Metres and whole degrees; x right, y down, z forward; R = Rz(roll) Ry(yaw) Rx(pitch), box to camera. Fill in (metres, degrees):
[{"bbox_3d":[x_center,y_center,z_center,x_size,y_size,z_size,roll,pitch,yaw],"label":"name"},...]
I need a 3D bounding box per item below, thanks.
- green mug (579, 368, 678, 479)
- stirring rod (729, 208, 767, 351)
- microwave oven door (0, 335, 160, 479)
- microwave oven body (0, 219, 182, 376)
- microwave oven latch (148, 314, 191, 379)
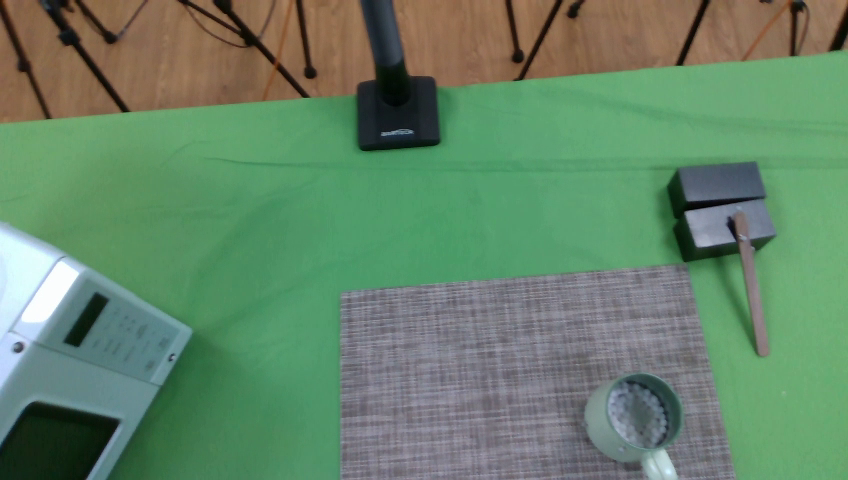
[{"bbox_3d":[0.230,0.204,0.660,0.092,0.106,0.124,-21,68,-5],"label":"green mug"},{"bbox_3d":[0.393,0.048,0.734,0.014,0.006,0.176,-10,89,-1],"label":"stirring rod"},{"bbox_3d":[-0.424,0.277,0.590,0.039,0.245,0.354,22,71,13],"label":"microwave oven door"},{"bbox_3d":[-0.538,0.190,0.638,0.325,0.262,0.440,22,72,12],"label":"microwave oven body"},{"bbox_3d":[-0.322,0.130,0.751,0.030,0.030,0.079,24,73,13],"label":"microwave oven latch"}]
